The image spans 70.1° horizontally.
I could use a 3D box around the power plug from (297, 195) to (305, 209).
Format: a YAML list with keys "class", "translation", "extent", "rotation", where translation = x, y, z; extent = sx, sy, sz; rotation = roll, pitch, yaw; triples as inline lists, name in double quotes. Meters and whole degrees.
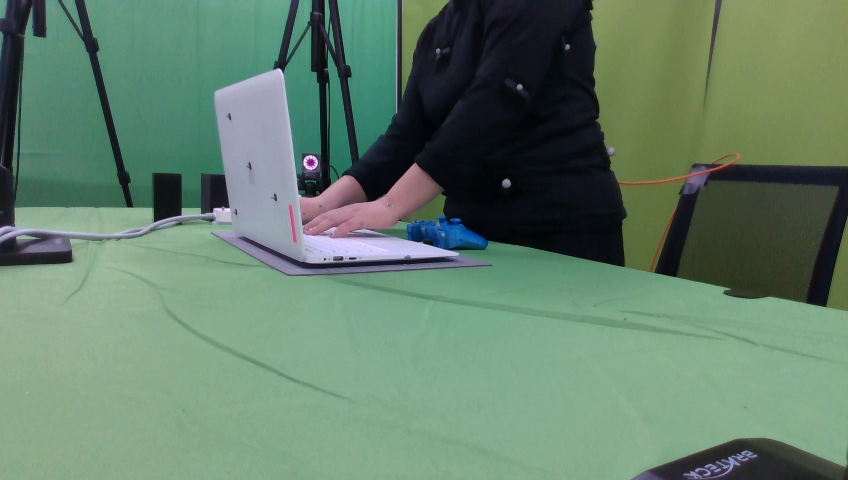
- class: "power plug"
  translation: [-0.284, -0.075, 1.341]
  extent: [0.035, 0.052, 0.072]
  rotation: [-1, 3, -19]

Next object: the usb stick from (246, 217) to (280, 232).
- class: "usb stick"
  translation: [-0.297, -0.028, 1.112]
  extent: [0.059, 0.027, 0.021]
  rotation: [-7, 6, -27]

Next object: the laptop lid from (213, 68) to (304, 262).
- class: "laptop lid"
  translation: [-0.247, -0.107, 0.865]
  extent: [0.013, 0.241, 0.355]
  rotation: [-11, 14, -30]

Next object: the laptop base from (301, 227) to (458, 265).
- class: "laptop base"
  translation: [-0.137, 0.007, 0.950]
  extent: [0.237, 0.023, 0.352]
  rotation: [2, 6, -32]

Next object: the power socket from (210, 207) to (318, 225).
- class: "power socket"
  translation: [-0.335, -0.051, 1.281]
  extent: [0.228, 0.032, 0.072]
  rotation: [-1, 9, -29]

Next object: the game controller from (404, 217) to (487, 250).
- class: "game controller"
  translation: [0.033, -0.013, 1.067]
  extent: [0.097, 0.051, 0.154]
  rotation: [-6, 10, -29]
